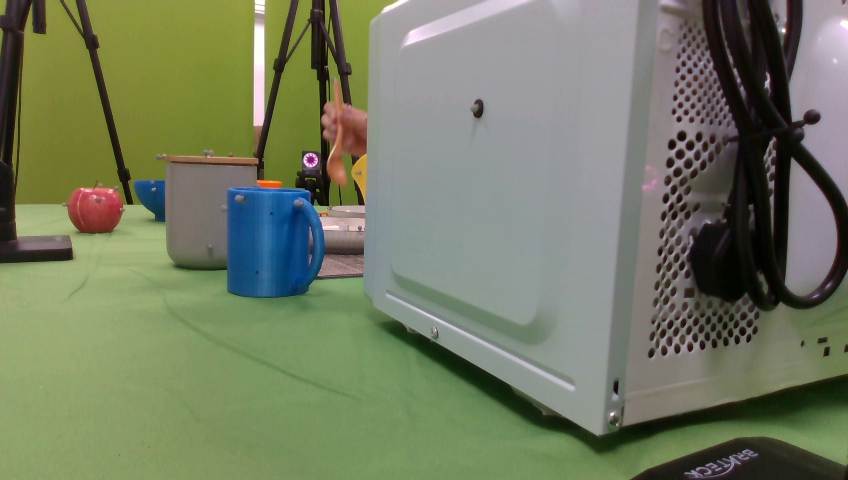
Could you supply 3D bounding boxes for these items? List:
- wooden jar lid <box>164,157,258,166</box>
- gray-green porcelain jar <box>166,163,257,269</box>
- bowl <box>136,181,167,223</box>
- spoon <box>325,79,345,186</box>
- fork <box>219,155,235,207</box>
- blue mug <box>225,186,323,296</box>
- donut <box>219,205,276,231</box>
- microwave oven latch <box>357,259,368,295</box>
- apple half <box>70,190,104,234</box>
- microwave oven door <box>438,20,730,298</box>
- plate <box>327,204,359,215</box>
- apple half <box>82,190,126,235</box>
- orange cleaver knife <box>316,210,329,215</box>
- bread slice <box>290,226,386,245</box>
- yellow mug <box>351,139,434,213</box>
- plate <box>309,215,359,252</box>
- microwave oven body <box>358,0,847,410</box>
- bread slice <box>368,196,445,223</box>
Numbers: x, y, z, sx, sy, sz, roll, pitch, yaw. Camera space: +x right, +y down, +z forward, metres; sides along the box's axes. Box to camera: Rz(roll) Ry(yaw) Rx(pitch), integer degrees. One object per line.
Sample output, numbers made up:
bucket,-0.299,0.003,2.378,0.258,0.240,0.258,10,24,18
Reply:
wooden jar lid,-0.261,-0.093,0.746,0.108,0.020,0.108,0,9,0
gray-green porcelain jar,-0.263,-0.031,0.754,0.106,0.126,0.106,2,7,0
bowl,-0.497,-0.076,1.221,0.151,0.077,0.151,2,8,0
spoon,-0.139,-0.174,0.965,0.021,0.193,0.042,-13,-22,33
fork,-0.459,-0.134,1.415,0.028,0.018,0.207,-1,-34,-24
blue mug,-0.148,0.000,0.618,0.116,0.106,0.083,7,9,33
donut,-0.316,-0.038,1.083,0.099,0.048,0.099,3,7,0
microwave oven latch,-0.019,0.031,0.529,0.079,0.029,0.030,-1,7,-26
apple half,-0.552,-0.048,1.010,0.053,0.074,0.081,-1,10,26
microwave oven door,0.181,-0.076,0.618,0.358,0.243,0.039,-2,8,-28
plate,-0.102,-0.053,1.299,0.209,0.038,0.209,2,7,0
apple half,-0.516,-0.046,0.994,0.032,0.081,0.081,0,6,26
orange cleaver knife,-0.259,-0.064,1.423,0.212,0.012,0.077,-4,3,-30
bread slice,-0.124,-0.008,0.938,0.131,0.019,0.105,4,8,32
yellow mug,-0.038,-0.099,0.881,0.130,0.064,0.100,-32,-21,26
plate,-0.130,-0.011,0.945,0.208,0.039,0.207,2,7,0
microwave oven body,0.210,-0.051,0.471,0.444,0.260,0.324,-1,7,-28
bread slice,-0.040,-0.057,1.142,0.107,0.018,0.133,-8,-8,-39
